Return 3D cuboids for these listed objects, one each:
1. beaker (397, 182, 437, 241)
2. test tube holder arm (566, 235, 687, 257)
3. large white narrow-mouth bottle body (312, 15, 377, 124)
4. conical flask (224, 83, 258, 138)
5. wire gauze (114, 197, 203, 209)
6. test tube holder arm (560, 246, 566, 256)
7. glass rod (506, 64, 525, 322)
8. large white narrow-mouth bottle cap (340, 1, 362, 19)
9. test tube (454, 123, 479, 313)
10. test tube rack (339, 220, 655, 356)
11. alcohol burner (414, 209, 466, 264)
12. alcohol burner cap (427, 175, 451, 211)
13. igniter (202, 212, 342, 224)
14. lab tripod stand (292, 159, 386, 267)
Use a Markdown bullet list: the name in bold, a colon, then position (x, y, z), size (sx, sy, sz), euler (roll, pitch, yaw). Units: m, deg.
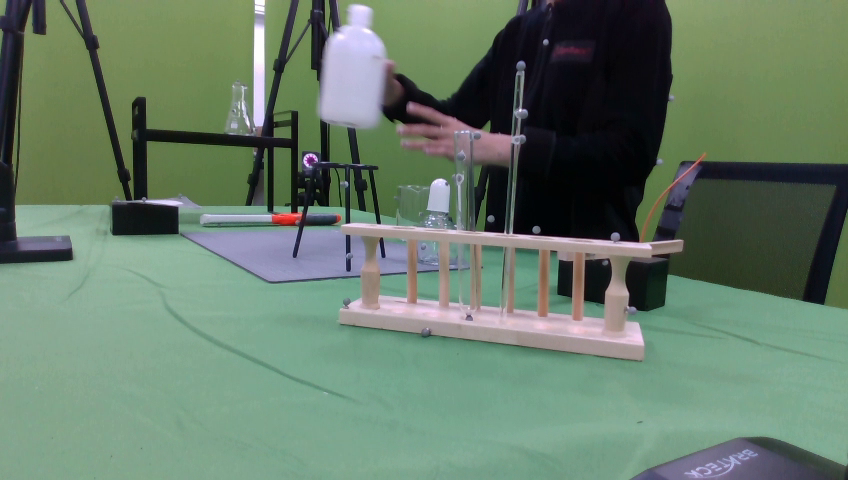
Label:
- **beaker**: position (-0.012, -0.050, 1.072), size (0.074, 0.100, 0.084), euler (1, 8, -4)
- **test tube holder arm**: position (0.215, 0.006, 0.630), size (0.179, 0.015, 0.013), euler (-3, 9, -31)
- **large white narrow-mouth bottle body**: position (-0.133, -0.303, 1.036), size (0.102, 0.194, 0.102), euler (7, 4, 0)
- **conical flask**: position (-0.422, -0.299, 1.395), size (0.075, 0.122, 0.075), euler (2, 7, 0)
- **wire gauze**: position (-0.447, -0.062, 1.015), size (0.126, 0.011, 0.121), euler (-2, 8, -31)
- **test tube holder arm**: position (0.173, 0.007, 0.612), size (0.088, 0.015, 0.010), euler (-3, 9, -30)
- **glass rod**: position (0.069, -0.030, 0.458), size (0.008, 0.199, 0.008), euler (0, 15, 0)
- **large white narrow-mouth bottle cap**: position (-0.124, -0.389, 1.029), size (0.038, 0.024, 0.037), euler (7, 4, 0)
- **test tube**: position (0.034, -0.016, 0.477), size (0.017, 0.150, 0.017), euler (-2, 9, 1)
- **test tube rack**: position (0.056, 0.032, 0.495), size (0.242, 0.085, 0.067), euler (4, 7, 15)
- **alcohol burner**: position (0.021, -0.028, 0.826), size (0.078, 0.119, 0.078), euler (0, 6, 0)
- **alcohol burner cap**: position (0.023, -0.064, 0.822), size (0.034, 0.048, 0.034), euler (7, 5, 0)
- **igniter**: position (-0.298, -0.044, 1.216), size (0.278, 0.025, 0.057), euler (-2, -2, -32)
- **lab tripod stand**: position (-0.105, -0.039, 0.797), size (0.148, 0.131, 0.148), euler (2, 5, 0)
